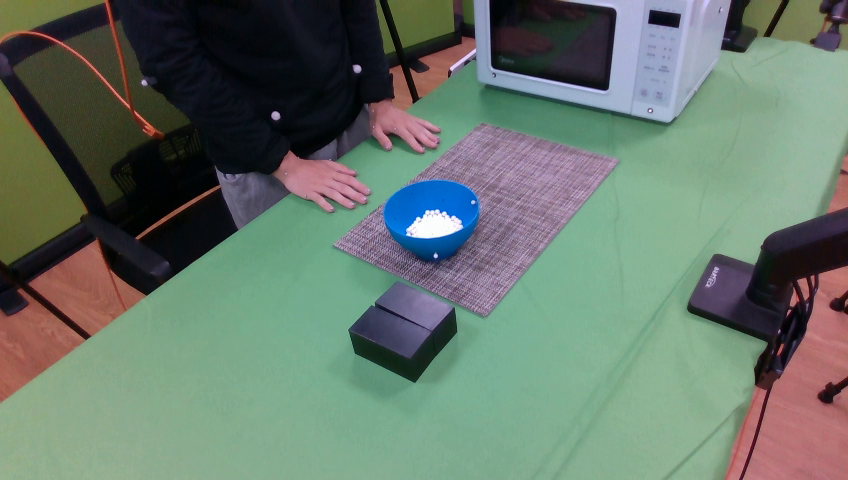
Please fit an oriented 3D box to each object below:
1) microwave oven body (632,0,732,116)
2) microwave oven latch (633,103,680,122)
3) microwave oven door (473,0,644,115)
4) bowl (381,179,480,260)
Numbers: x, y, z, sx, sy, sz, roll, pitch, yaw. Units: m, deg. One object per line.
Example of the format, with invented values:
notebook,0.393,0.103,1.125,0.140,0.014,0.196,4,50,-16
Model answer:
microwave oven body,0.377,-0.462,1.267,0.438,0.261,0.327,21,48,30
microwave oven latch,0.444,-0.249,1.157,0.078,0.029,0.030,21,48,30
microwave oven door,0.257,-0.396,1.199,0.353,0.245,0.039,21,48,29
bowl,0.014,-0.021,0.942,0.151,0.077,0.150,-4,40,4
